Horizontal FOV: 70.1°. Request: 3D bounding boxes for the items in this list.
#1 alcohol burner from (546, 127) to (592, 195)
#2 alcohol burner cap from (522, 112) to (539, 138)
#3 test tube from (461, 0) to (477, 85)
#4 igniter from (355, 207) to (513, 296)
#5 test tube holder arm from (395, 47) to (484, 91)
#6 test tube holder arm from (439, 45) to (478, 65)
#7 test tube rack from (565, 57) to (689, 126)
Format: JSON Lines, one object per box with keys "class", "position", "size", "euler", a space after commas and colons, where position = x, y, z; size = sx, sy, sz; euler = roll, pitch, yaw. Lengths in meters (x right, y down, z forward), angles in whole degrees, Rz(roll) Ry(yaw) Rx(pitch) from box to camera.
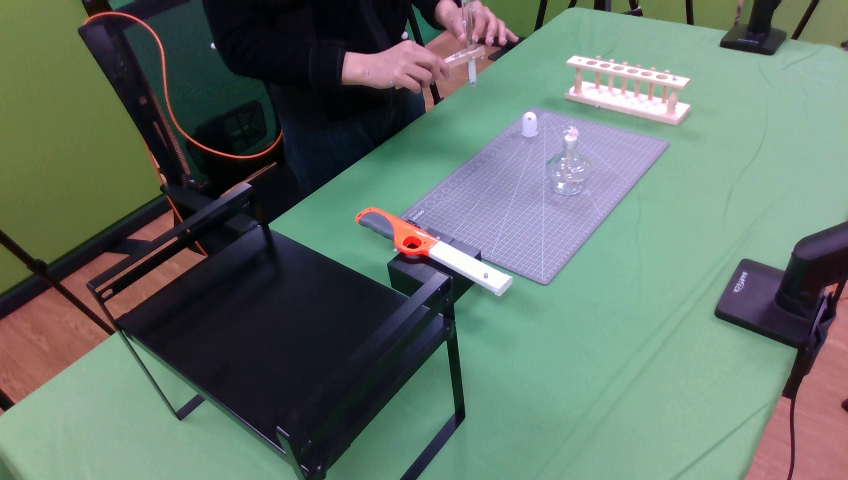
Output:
{"class": "alcohol burner", "position": [0.247, -0.137, 1.023], "size": [0.078, 0.119, 0.077], "euler": [-4, 38, 4]}
{"class": "alcohol burner cap", "position": [0.210, -0.230, 1.195], "size": [0.034, 0.048, 0.033], "euler": [-5, 41, 5]}
{"class": "test tube", "position": [0.078, -0.339, 1.043], "size": [0.017, 0.151, 0.017], "euler": [-6, 40, 5]}
{"class": "igniter", "position": [0.006, 0.010, 0.885], "size": [0.274, 0.025, 0.057], "euler": [27, 53, 30]}
{"class": "test tube holder arm", "position": [0.029, -0.292, 1.028], "size": [0.179, 0.015, 0.013], "euler": [-29, 37, -20]}
{"class": "test tube holder arm", "position": [0.061, -0.316, 1.050], "size": [0.088, 0.015, 0.010], "euler": [-35, 41, -28]}
{"class": "test tube rack", "position": [0.412, -0.311, 1.230], "size": [0.240, 0.085, 0.067], "euler": [24, 49, 32]}
